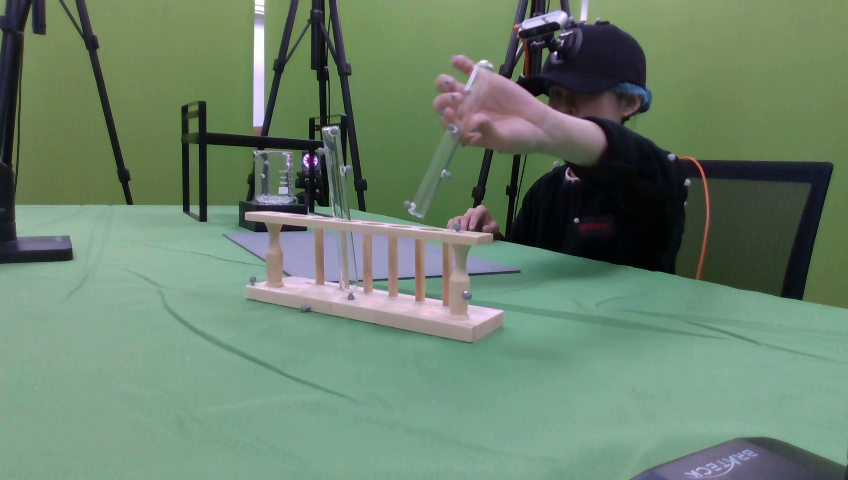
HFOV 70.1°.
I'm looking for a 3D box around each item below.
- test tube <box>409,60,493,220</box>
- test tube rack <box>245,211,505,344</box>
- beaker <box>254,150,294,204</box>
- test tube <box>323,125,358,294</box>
[{"bbox_3d":[0.024,-0.087,0.530,0.017,0.150,0.017,25,4,-2],"label":"test tube"},{"bbox_3d":[-0.049,0.024,0.547,0.241,0.085,0.067,7,8,29],"label":"test tube rack"},{"bbox_3d":[-0.289,-0.120,1.151,0.073,0.100,0.084,8,9,33],"label":"beaker"},{"bbox_3d":[-0.073,-0.026,0.533,0.017,0.150,0.017,-5,9,1],"label":"test tube"}]
